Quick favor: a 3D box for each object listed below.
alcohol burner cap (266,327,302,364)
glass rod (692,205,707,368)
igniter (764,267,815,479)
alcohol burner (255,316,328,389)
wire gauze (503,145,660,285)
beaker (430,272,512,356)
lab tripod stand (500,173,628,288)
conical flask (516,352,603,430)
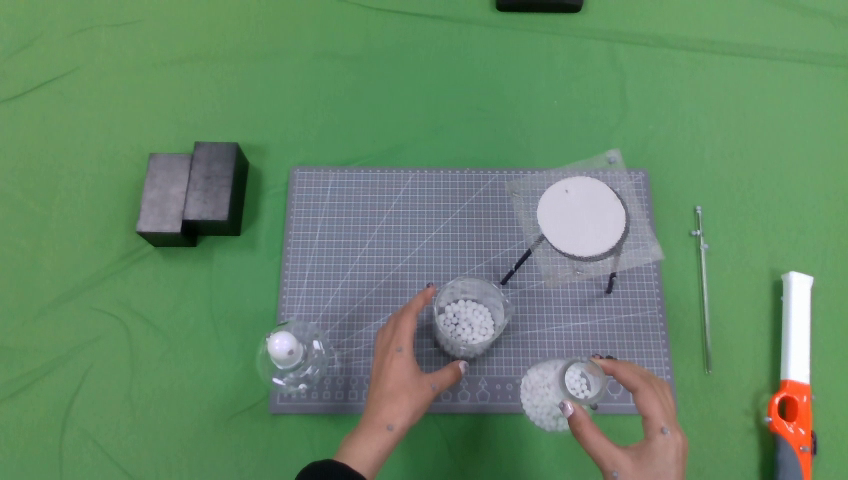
[{"bbox_3d":[-0.139,0.101,0.596,0.034,0.048,0.033,2,69,-5],"label":"alcohol burner cap"},{"bbox_3d":[0.325,0.051,0.717,0.008,0.008,0.198,5,71,1],"label":"glass rod"},{"bbox_3d":[0.405,0.163,0.670,0.057,0.025,0.275,15,72,-6],"label":"igniter"},{"bbox_3d":[-0.141,0.114,0.630,0.078,0.119,0.077,1,72,-2],"label":"alcohol burner"},{"bbox_3d":[0.155,-0.026,0.600,0.125,0.011,0.120,-16,74,-5],"label":"wire gauze"},{"bbox_3d":[0.047,0.083,0.651,0.084,0.101,0.073,-5,71,-3],"label":"beaker"},{"bbox_3d":[0.156,-0.003,0.663,0.148,0.132,0.147,0,73,0],"label":"lab tripod stand"},{"bbox_3d":[0.127,0.130,0.545,0.075,0.122,0.075,0,71,0],"label":"conical flask"}]
